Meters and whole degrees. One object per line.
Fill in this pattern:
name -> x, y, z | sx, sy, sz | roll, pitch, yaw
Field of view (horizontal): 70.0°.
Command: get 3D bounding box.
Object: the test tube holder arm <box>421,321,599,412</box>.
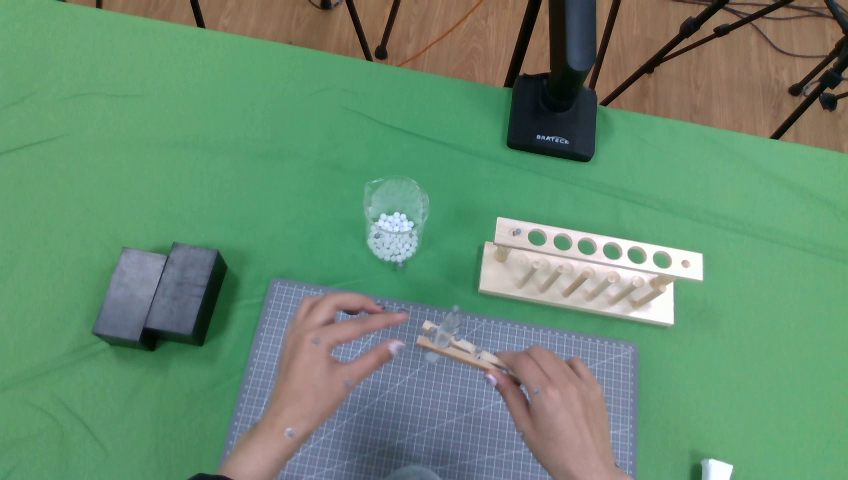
test tube holder arm -> 0.079, 0.118, 0.564 | 0.178, 0.015, 0.013 | 24, 75, 3

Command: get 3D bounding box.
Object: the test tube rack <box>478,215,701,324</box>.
test tube rack -> 0.194, 0.038, 0.725 | 0.242, 0.085, 0.066 | 10, 67, -2

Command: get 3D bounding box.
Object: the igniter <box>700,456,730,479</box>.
igniter -> 0.294, 0.368, 0.631 | 0.057, 0.025, 0.275 | 20, 66, -8

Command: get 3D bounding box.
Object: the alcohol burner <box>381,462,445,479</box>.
alcohol burner -> -0.009, 0.257, 0.593 | 0.078, 0.120, 0.077 | 3, 65, -6

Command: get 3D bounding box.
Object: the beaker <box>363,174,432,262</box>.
beaker -> -0.037, -0.024, 0.717 | 0.083, 0.101, 0.074 | 37, 68, 10

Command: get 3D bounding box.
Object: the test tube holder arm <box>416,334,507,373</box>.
test tube holder arm -> 0.035, 0.106, 0.565 | 0.088, 0.015, 0.010 | 18, 74, 2

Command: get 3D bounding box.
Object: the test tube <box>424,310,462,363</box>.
test tube -> 0.015, 0.093, 0.563 | 0.017, 0.151, 0.017 | 3, 67, -6
